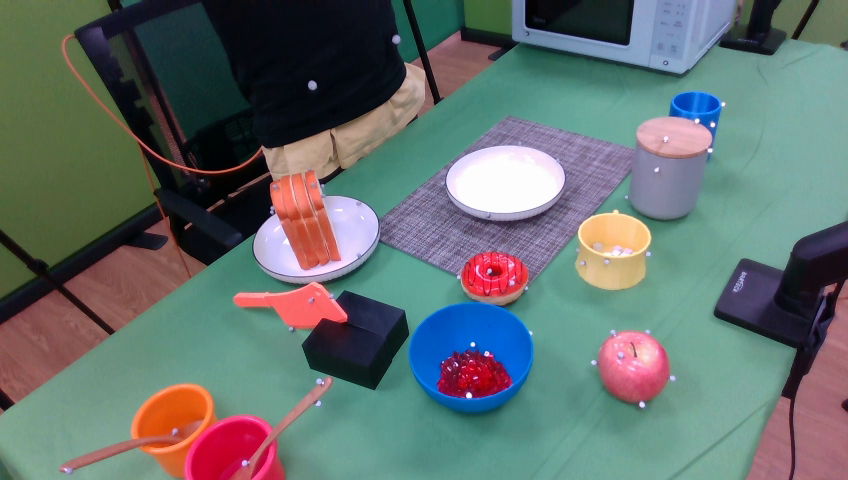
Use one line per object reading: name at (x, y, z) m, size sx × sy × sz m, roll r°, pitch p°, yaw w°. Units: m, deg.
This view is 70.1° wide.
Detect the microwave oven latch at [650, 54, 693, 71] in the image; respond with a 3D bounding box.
microwave oven latch at (0.531, -0.386, 1.301) m, size 0.078 × 0.029 × 0.030 m, roll 26°, pitch 51°, yaw 33°

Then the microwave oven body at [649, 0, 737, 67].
microwave oven body at (0.475, -0.602, 1.411) m, size 0.438 × 0.261 × 0.327 m, roll 23°, pitch 50°, yaw 32°

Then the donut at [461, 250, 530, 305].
donut at (0.103, 0.053, 0.872) m, size 0.099 × 0.048 × 0.098 m, roll -5°, pitch 40°, yaw 4°

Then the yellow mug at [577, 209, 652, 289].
yellow mug at (0.279, 0.004, 0.893) m, size 0.099 × 0.064 × 0.130 m, roll 5°, pitch 41°, yaw 15°

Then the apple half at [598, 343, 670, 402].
apple half at (0.247, 0.161, 0.710) m, size 0.081 × 0.075 × 0.053 m, roll 2°, pitch 47°, yaw 5°

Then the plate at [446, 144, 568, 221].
plate at (0.142, -0.096, 1.045) m, size 0.207 × 0.039 × 0.206 m, roll -4°, pitch 40°, yaw 4°

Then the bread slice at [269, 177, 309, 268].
bread slice at (-0.212, -0.034, 0.946) m, size 0.019 × 0.132 × 0.104 m, roll -18°, pitch 39°, yaw -3°

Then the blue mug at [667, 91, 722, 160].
blue mug at (0.474, -0.207, 1.079) m, size 0.082 × 0.106 × 0.116 m, roll 4°, pitch 42°, yaw 13°

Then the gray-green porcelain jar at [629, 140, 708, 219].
gray-green porcelain jar at (0.383, -0.105, 0.958) m, size 0.106 × 0.127 × 0.105 m, roll -4°, pitch 41°, yaw 4°

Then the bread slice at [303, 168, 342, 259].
bread slice at (-0.161, -0.046, 0.952) m, size 0.018 × 0.135 × 0.106 m, roll -18°, pitch 45°, yaw -6°

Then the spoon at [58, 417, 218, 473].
spoon at (-0.304, 0.221, 0.661) m, size 0.041 × 0.195 × 0.021 m, roll 19°, pitch 92°, yaw 27°

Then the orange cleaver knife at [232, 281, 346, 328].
orange cleaver knife at (-0.192, 0.093, 0.844) m, size 0.210 × 0.077 × 0.012 m, roll -7°, pitch 31°, yaw 38°

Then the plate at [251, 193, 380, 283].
plate at (-0.173, -0.001, 0.985) m, size 0.209 × 0.038 × 0.208 m, roll -4°, pitch 41°, yaw 4°

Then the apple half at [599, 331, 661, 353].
apple half at (0.249, 0.134, 0.738) m, size 0.081 × 0.081 × 0.032 m, roll -2°, pitch 46°, yaw 7°

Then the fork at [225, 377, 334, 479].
fork at (-0.163, 0.216, 0.646) m, size 0.207 × 0.019 × 0.028 m, roll -49°, pitch 42°, yaw 16°

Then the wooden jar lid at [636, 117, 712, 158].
wooden jar lid at (0.377, -0.151, 0.917) m, size 0.108 × 0.021 × 0.108 m, roll -2°, pitch 41°, yaw 3°

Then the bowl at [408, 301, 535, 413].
bowl at (0.060, 0.156, 0.739) m, size 0.151 × 0.077 × 0.150 m, roll -4°, pitch 40°, yaw 4°

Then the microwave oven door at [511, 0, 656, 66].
microwave oven door at (0.351, -0.540, 1.349) m, size 0.353 × 0.245 × 0.039 m, roll 24°, pitch 50°, yaw 31°
